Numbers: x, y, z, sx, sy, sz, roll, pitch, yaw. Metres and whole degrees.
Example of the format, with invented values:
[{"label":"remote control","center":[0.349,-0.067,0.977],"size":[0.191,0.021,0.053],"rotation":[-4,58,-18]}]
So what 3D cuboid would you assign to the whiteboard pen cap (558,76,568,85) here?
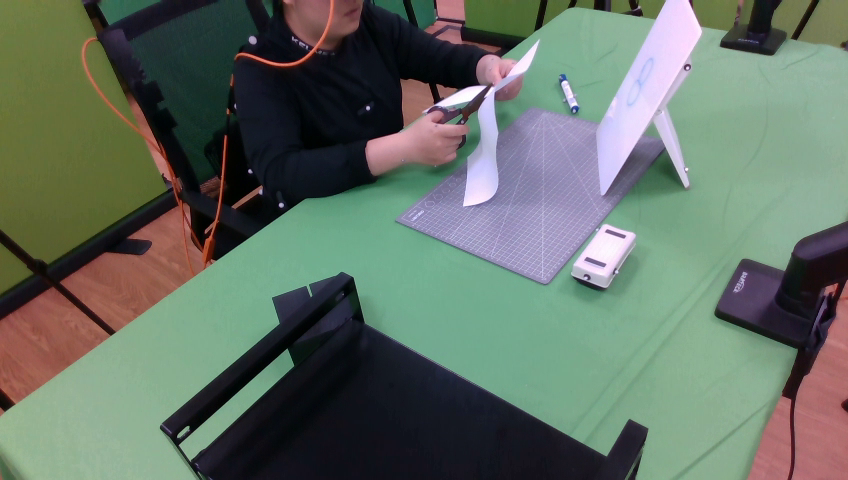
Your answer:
[{"label":"whiteboard pen cap","center":[0.310,-0.350,1.341],"size":[0.018,0.018,0.033],"rotation":[-6,41,2]}]

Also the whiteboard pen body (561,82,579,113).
[{"label":"whiteboard pen body","center":[0.310,-0.311,1.298],"size":[0.017,0.017,0.140],"rotation":[-6,41,2]}]

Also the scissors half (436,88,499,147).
[{"label":"scissors half","center":[0.078,-0.215,1.070],"size":[0.040,0.174,0.013],"rotation":[25,52,-20]}]

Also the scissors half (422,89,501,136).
[{"label":"scissors half","center":[0.063,-0.227,1.061],"size":[0.174,0.040,0.013],"rotation":[-19,40,36]}]

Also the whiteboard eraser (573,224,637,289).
[{"label":"whiteboard eraser","center":[0.267,0.025,0.891],"size":[0.055,0.042,0.113],"rotation":[19,47,31]}]

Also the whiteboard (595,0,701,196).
[{"label":"whiteboard","center":[0.421,-0.227,1.010],"size":[0.144,0.305,0.216],"rotation":[18,42,-2]}]
